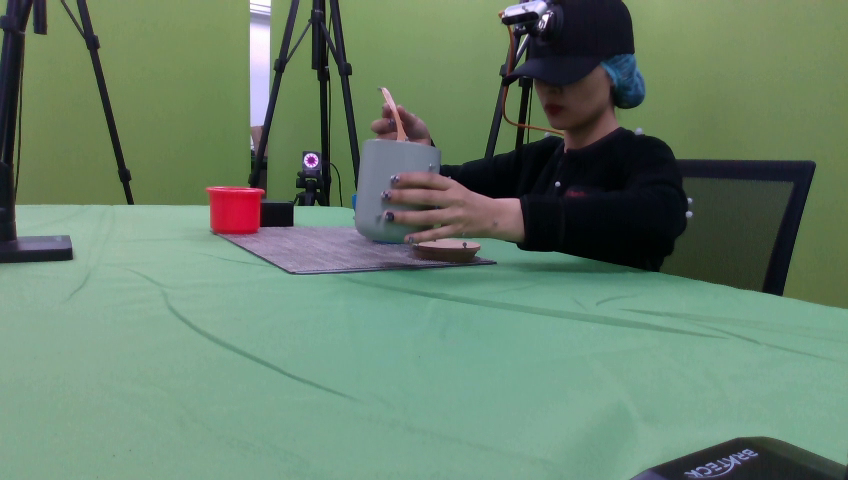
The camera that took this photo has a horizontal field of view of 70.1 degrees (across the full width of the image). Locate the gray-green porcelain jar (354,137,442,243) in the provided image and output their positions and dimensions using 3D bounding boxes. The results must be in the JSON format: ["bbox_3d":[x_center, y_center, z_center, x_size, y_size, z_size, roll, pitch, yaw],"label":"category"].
[{"bbox_3d":[-0.035,-0.063,0.790,0.106,0.126,0.106,6,1,0],"label":"gray-green porcelain jar"}]

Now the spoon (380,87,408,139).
[{"bbox_3d":[-0.043,-0.192,0.989,0.042,0.193,0.021,-1,-37,-22],"label":"spoon"}]

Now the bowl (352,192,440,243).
[{"bbox_3d":[-0.050,-0.038,1.033,0.151,0.077,0.151,3,7,0],"label":"bowl"}]

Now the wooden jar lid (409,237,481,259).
[{"bbox_3d":[0.031,0.012,0.895,0.108,0.020,0.108,2,8,0],"label":"wooden jar lid"}]
